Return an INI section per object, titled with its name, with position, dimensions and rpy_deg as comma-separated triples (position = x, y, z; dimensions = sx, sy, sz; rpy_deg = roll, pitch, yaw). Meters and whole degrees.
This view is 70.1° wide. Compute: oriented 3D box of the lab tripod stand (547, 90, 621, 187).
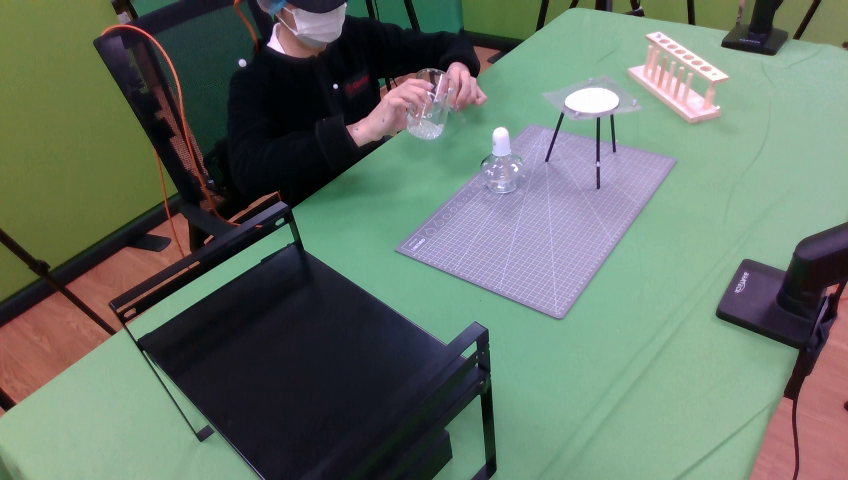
[lab tripod stand]
position = 0.289, -0.184, 1.062
dimensions = 0.148, 0.132, 0.147
rpy_deg = -6, 41, 6

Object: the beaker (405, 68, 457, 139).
[beaker]
position = 0.012, -0.233, 1.053
dimensions = 0.073, 0.084, 0.100
rpy_deg = 8, 68, 18

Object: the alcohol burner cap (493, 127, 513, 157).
[alcohol burner cap]
position = 0.132, -0.169, 1.030
dimensions = 0.034, 0.048, 0.033
rpy_deg = -7, 36, 5

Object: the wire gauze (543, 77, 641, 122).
[wire gauze]
position = 0.282, -0.236, 1.020
dimensions = 0.125, 0.011, 0.120
rpy_deg = -15, 40, -6

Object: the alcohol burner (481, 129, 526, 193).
[alcohol burner]
position = 0.138, -0.142, 1.052
dimensions = 0.078, 0.119, 0.077
rpy_deg = -5, 42, 5

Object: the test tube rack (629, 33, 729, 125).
[test tube rack]
position = 0.516, -0.337, 1.247
dimensions = 0.067, 0.085, 0.240
rpy_deg = -14, 41, -7

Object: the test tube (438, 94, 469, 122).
[test tube]
position = 0.059, -0.253, 1.171
dimensions = 0.017, 0.017, 0.151
rpy_deg = 11, 0, 22
